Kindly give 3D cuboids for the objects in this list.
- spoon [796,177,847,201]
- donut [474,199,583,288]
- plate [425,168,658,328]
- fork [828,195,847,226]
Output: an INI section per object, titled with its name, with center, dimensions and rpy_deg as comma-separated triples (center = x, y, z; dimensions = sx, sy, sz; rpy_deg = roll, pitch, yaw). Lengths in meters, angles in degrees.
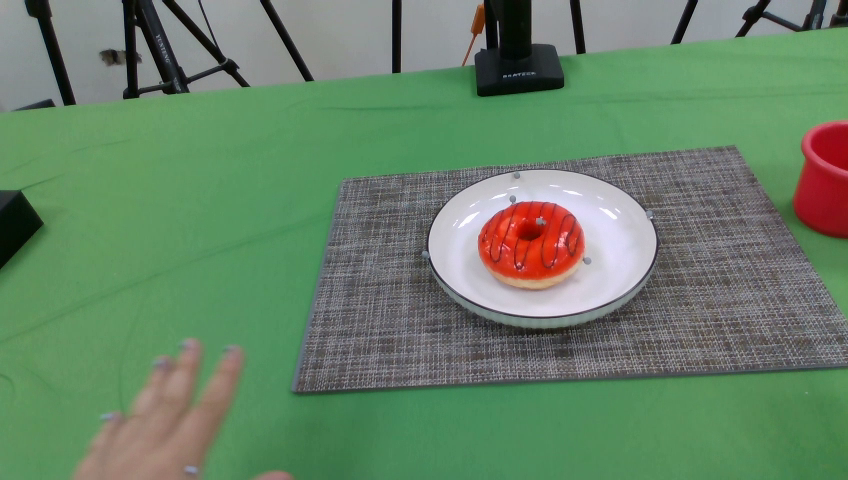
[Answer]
[spoon]
center = 0.402, -0.058, 0.511
dimensions = 0.041, 0.193, 0.021
rpy_deg = -33, 91, -16
[donut]
center = 0.096, 0.002, 0.556
dimensions = 0.099, 0.049, 0.098
rpy_deg = -6, 44, 6
[plate]
center = 0.107, 0.007, 0.567
dimensions = 0.209, 0.038, 0.207
rpy_deg = -5, 41, 5
[fork]
center = 0.431, -0.103, 0.546
dimensions = 0.019, 0.207, 0.028
rpy_deg = 24, 9, -16
